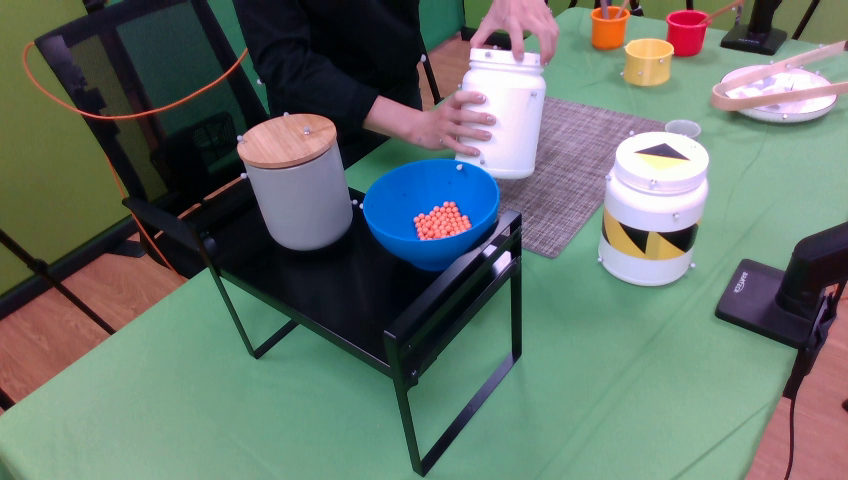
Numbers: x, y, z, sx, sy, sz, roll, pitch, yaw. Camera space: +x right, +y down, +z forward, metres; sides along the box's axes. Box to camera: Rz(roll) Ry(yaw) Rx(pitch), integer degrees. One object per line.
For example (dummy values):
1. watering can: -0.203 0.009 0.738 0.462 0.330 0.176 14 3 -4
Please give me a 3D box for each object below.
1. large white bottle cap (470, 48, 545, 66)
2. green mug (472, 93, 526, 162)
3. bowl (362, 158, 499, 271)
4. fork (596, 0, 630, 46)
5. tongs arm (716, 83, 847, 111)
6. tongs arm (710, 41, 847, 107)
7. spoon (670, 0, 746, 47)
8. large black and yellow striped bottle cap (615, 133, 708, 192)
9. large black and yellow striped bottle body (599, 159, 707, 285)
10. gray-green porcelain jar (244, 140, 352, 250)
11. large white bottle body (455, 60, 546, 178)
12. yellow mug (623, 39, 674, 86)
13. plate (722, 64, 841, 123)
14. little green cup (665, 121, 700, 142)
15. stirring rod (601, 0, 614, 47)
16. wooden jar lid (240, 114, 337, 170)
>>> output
1. large white bottle cap: 0.129 -0.282 0.930 0.115 0.018 0.114 5 18 -1
2. green mug: 0.143 -0.201 1.122 0.093 0.105 0.124 -29 45 -23
3. bowl: 0.011 -0.019 0.679 0.151 0.077 0.150 -5 41 4
4. fork: 0.481 -0.556 1.452 0.028 0.019 0.207 40 103 38
5. tongs arm: 0.739 -0.281 1.134 0.388 0.028 0.028 -9 47 -5
6. tongs arm: 0.712 -0.332 1.194 0.386 0.026 0.050 -19 45 -16
7. spoon: 0.629 -0.485 1.350 0.022 0.193 0.042 47 54 -7
8. large black and yellow striped bottle cap: 0.313 -0.105 0.799 0.115 0.019 0.114 -5 41 5
9. large black and yellow striped bottle body: 0.320 -0.042 0.854 0.131 0.185 0.130 -4 40 4
10. gray-green porcelain jar: -0.144 -0.060 0.714 0.106 0.127 0.105 -4 41 4
11. large white bottle body: 0.122 -0.200 0.958 0.131 0.185 0.130 5 18 -1
12. yellow mug: 0.484 -0.398 1.334 0.100 0.064 0.130 -18 41 -11
13. plate: 0.695 -0.282 1.189 0.207 0.039 0.206 -4 40 4
14. little green cup: 0.473 -0.188 1.113 0.061 0.039 0.061 -5 40 5
15. stirring rod: 0.439 -0.552 1.463 0.014 0.006 0.175 -7 83 2
16. wooden jar lid: -0.149 -0.106 0.673 0.108 0.021 0.108 -6 38 5
